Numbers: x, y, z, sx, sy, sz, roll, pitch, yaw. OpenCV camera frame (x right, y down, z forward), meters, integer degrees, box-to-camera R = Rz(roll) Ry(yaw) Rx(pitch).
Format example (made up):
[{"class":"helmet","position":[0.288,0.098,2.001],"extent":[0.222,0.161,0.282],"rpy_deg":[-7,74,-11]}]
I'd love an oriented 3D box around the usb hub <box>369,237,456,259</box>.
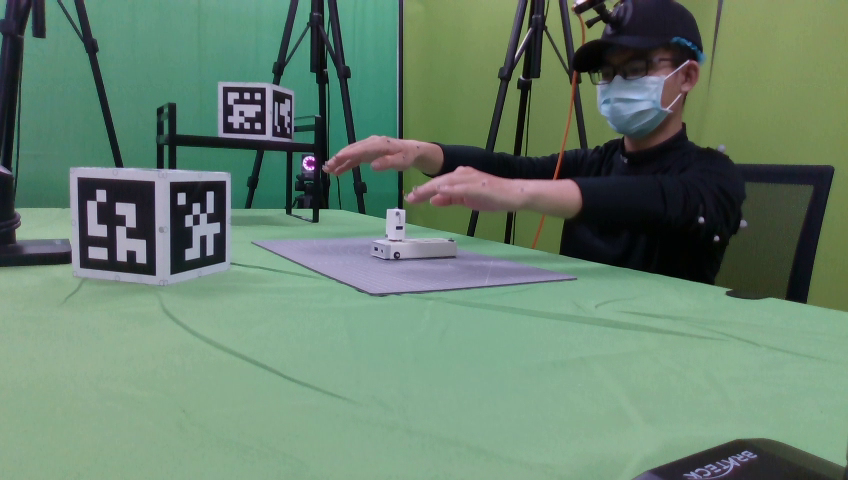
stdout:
[{"class":"usb hub","position":[-0.016,0.012,0.909],"extent":[0.126,0.025,0.049],"rpy_deg":[-2,9,-32]}]

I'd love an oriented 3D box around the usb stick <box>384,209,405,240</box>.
[{"class":"usb stick","position":[-0.044,-0.016,0.892],"extent":[0.021,0.059,0.027],"rpy_deg":[-1,10,-34]}]
